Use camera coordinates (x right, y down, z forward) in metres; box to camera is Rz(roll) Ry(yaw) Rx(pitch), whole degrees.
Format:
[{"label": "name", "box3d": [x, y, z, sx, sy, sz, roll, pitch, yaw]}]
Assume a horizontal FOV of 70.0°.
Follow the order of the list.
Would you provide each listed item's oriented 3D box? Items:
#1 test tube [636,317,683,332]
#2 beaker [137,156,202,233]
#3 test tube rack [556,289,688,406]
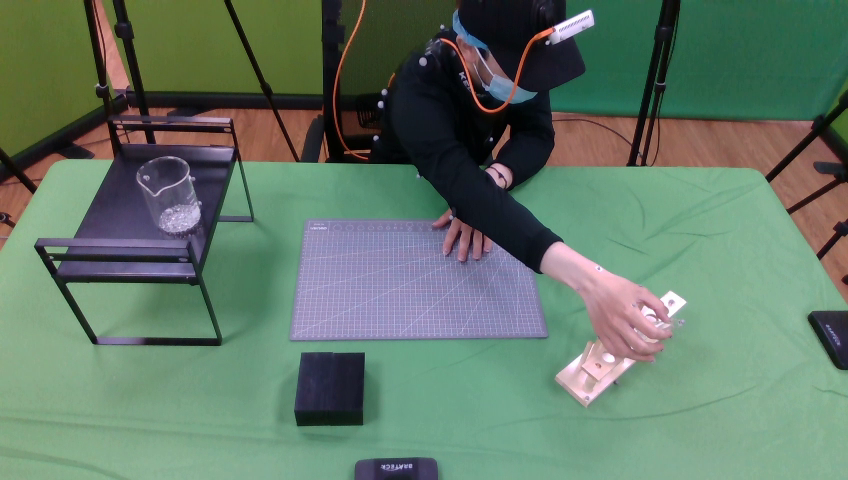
[{"label": "test tube", "box3d": [0.359, 0.133, 0.941, 0.017, 0.151, 0.017, 1, 78, -5]}, {"label": "beaker", "box3d": [-0.385, -0.064, 0.925, 0.074, 0.101, 0.083, 2, 47, -1]}, {"label": "test tube rack", "box3d": [0.332, 0.166, 1.014, 0.242, 0.085, 0.066, -30, 55, -28]}]
